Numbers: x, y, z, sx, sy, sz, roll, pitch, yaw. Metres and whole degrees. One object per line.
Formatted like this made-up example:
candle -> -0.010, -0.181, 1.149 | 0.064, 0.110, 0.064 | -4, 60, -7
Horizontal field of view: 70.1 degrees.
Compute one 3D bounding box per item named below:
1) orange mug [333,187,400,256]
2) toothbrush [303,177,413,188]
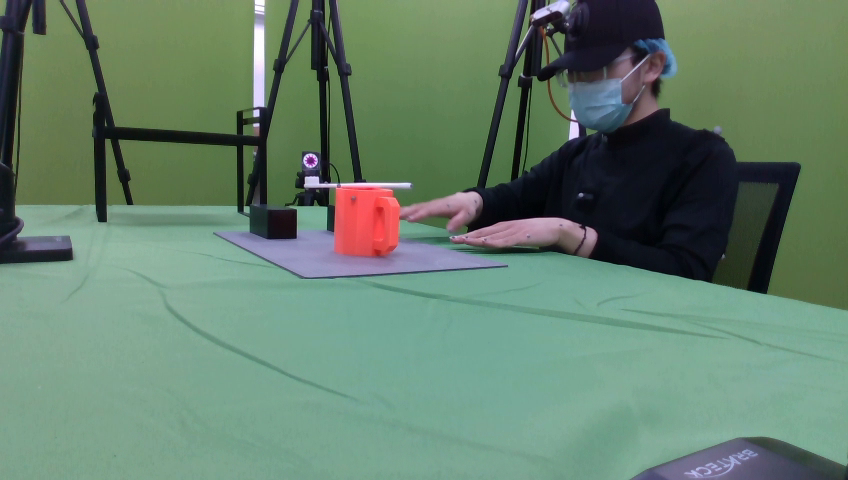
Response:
orange mug -> -0.080, -0.029, 0.888 | 0.084, 0.100, 0.125 | -3, 5, -40
toothbrush -> -0.097, -0.086, 0.920 | 0.183, 0.016, 0.014 | -2, -3, -32
